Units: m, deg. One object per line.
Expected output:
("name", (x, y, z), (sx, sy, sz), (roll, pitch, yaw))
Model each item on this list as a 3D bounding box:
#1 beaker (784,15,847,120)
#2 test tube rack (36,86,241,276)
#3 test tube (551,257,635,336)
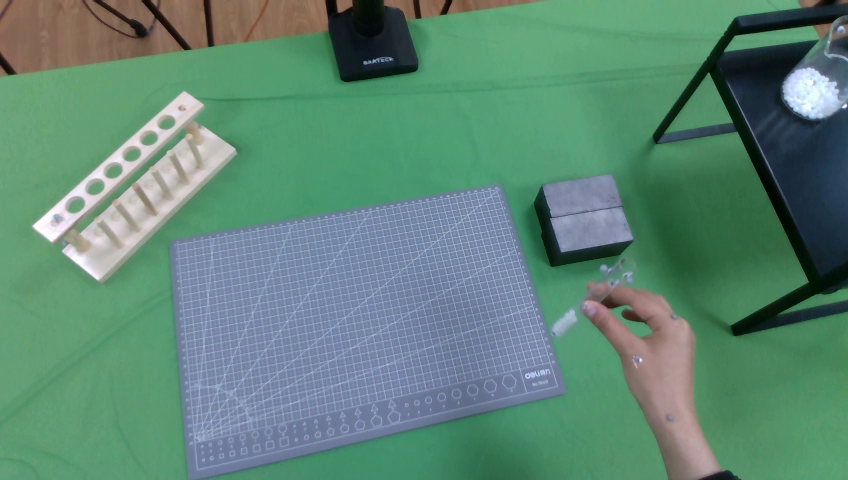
("beaker", (0.463, -0.189, 0.680), (0.084, 0.101, 0.073), (-14, 68, -10))
("test tube rack", (-0.350, -0.076, 0.768), (0.066, 0.086, 0.242), (35, 69, 11))
("test tube", (0.153, 0.057, 0.567), (0.017, 0.151, 0.017), (7, 58, -11))
